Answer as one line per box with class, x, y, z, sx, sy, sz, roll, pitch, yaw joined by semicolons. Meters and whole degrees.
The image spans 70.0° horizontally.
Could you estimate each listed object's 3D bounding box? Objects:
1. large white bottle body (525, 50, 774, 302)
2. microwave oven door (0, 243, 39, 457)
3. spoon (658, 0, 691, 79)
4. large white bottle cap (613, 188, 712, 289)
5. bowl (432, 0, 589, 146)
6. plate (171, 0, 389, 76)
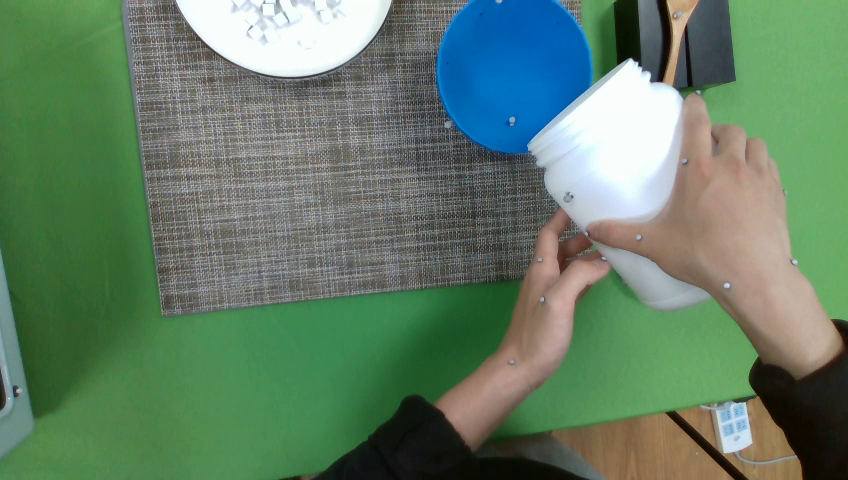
large white bottle body;0.185;-0.054;0.516;0.130;0.130;0.185;-42;95;-4
microwave oven door;-0.379;0.012;0.430;0.039;0.243;0.356;-9;97;-9
spoon;0.244;-0.191;0.608;0.042;0.021;0.194;6;99;-13
large white bottle cap;0.268;-0.001;0.679;0.115;0.018;0.115;-1;96;-11
bowl;0.076;-0.165;0.593;0.152;0.076;0.151;-1;96;-10
plate;-0.134;-0.256;0.567;0.210;0.038;0.209;0;92;-10
